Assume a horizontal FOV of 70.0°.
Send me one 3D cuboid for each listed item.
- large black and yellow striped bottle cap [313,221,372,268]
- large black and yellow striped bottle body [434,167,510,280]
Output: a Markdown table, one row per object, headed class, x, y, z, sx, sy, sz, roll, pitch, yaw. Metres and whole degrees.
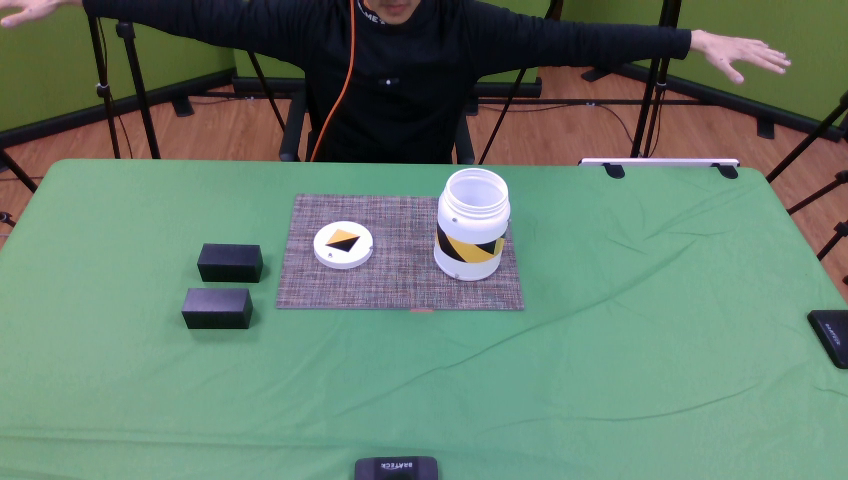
| class | x | y | z | sx | sy | sz | roll | pitch | yaw |
| --- | --- | --- | --- | --- | --- | --- | --- | --- | --- |
| large black and yellow striped bottle cap | -0.158 | 0.007 | 1.176 | 0.115 | 0.019 | 0.114 | 2 | 45 | -2 |
| large black and yellow striped bottle body | 0.087 | -0.031 | 1.114 | 0.131 | 0.185 | 0.130 | 2 | 46 | -2 |
